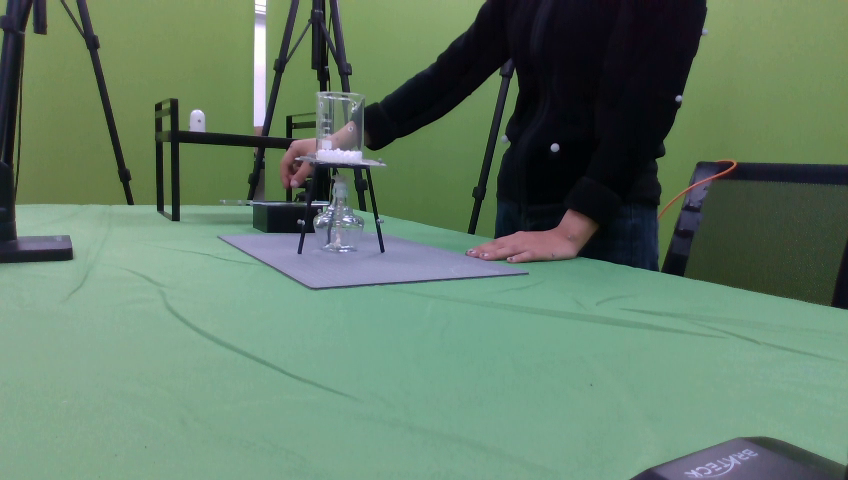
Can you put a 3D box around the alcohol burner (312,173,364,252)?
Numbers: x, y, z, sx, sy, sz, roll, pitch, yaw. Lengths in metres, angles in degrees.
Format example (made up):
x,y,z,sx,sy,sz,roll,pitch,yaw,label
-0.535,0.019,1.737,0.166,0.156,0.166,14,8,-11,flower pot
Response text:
x,y,z,sx,sy,sz,roll,pitch,yaw,label
-0.129,-0.042,0.910,0.078,0.119,0.078,4,9,0,alcohol burner

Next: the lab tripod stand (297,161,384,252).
x,y,z,sx,sy,sz,roll,pitch,yaw,label
-0.130,-0.051,0.903,0.148,0.131,0.148,3,9,0,lab tripod stand

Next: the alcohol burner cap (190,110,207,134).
x,y,z,sx,sy,sz,roll,pitch,yaw,label
-0.463,-0.242,1.240,0.034,0.048,0.034,2,7,0,alcohol burner cap

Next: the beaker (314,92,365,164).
x,y,z,sx,sy,sz,roll,pitch,yaw,label
-0.123,-0.163,0.893,0.073,0.100,0.084,7,9,31,beaker

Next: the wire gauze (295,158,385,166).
x,y,z,sx,sy,sz,roll,pitch,yaw,label
-0.128,-0.117,0.901,0.125,0.011,0.121,-2,8,-14,wire gauze

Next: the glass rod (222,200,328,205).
x,y,z,sx,sy,sz,roll,pitch,yaw,label
-0.275,-0.070,1.140,0.201,0.008,0.008,-1,8,-27,glass rod
